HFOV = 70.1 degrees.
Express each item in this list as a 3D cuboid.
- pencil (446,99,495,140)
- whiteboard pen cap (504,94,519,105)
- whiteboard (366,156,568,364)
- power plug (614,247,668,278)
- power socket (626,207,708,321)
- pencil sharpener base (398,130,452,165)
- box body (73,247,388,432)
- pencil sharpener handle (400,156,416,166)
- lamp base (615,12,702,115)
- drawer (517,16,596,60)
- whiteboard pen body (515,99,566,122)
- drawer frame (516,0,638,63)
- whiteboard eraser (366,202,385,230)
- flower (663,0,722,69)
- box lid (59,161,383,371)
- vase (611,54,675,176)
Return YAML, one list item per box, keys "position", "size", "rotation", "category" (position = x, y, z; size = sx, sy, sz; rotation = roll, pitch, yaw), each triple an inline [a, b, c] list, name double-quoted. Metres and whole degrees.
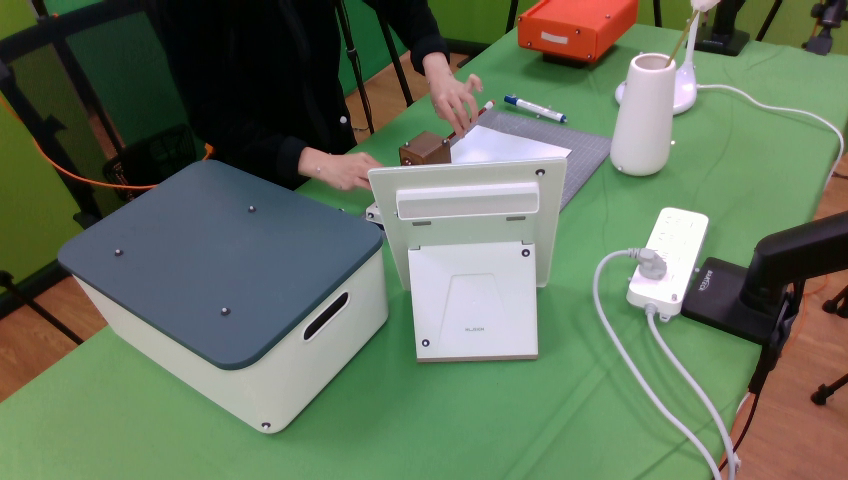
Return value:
- position: [0.071, -0.205, 1.090]
  size: [0.012, 0.012, 0.194]
  rotation: [25, 53, 32]
  category: "pencil"
- position: [0.190, -0.299, 1.292]
  size: [0.033, 0.018, 0.018]
  rotation: [29, 52, 28]
  category: "whiteboard pen cap"
- position: [0.059, 0.050, 0.738]
  size: [0.217, 0.307, 0.143]
  rotation: [-2, 60, 6]
  category: "whiteboard"
- position: [0.306, 0.031, 0.851]
  size: [0.072, 0.053, 0.035]
  rotation: [24, 49, 33]
  category: "power plug"
- position: [0.359, 0.025, 0.886]
  size: [0.072, 0.033, 0.227]
  rotation: [16, 46, 26]
  category: "power socket"
- position: [0.004, -0.123, 1.049]
  size: [0.061, 0.107, 0.077]
  rotation: [28, 52, 34]
  category: "pencil sharpener base"
- position: [-0.255, 0.065, 0.827]
  size: [0.361, 0.161, 0.255]
  rotation: [21, 48, 29]
  category: "box body"
- position: [-0.041, -0.113, 1.018]
  size: [0.031, 0.067, 0.036]
  rotation: [-39, 93, -31]
  category: "pencil sharpener handle"
- position: [0.484, -0.364, 1.211]
  size: [0.180, 0.181, 0.159]
  rotation: [-15, 41, -14]
  category: "lamp base"
- position: [0.353, -0.506, 1.405]
  size: [0.193, 0.073, 0.212]
  rotation: [23, 49, 32]
  category: "drawer"
- position: [0.234, -0.274, 1.262]
  size: [0.139, 0.017, 0.017]
  rotation: [28, 51, 29]
  category: "whiteboard pen body"
- position: [0.355, -0.508, 1.410]
  size: [0.200, 0.083, 0.214]
  rotation: [23, 51, 32]
  category: "drawer frame"
- position: [-0.038, -0.038, 1.006]
  size: [0.112, 0.042, 0.055]
  rotation: [16, 47, 25]
  category: "whiteboard eraser"
- position: [0.379, -0.261, 0.965]
  size: [0.044, 0.362, 0.038]
  rotation: [20, 53, 5]
  category: "flower"
- position: [-0.262, 0.010, 0.777]
  size: [0.369, 0.015, 0.264]
  rotation: [21, 48, 29]
  category: "box lid"
- position: [0.377, -0.209, 1.031]
  size: [0.098, 0.201, 0.097]
  rotation: [-3, 40, 3]
  category: "vase"
